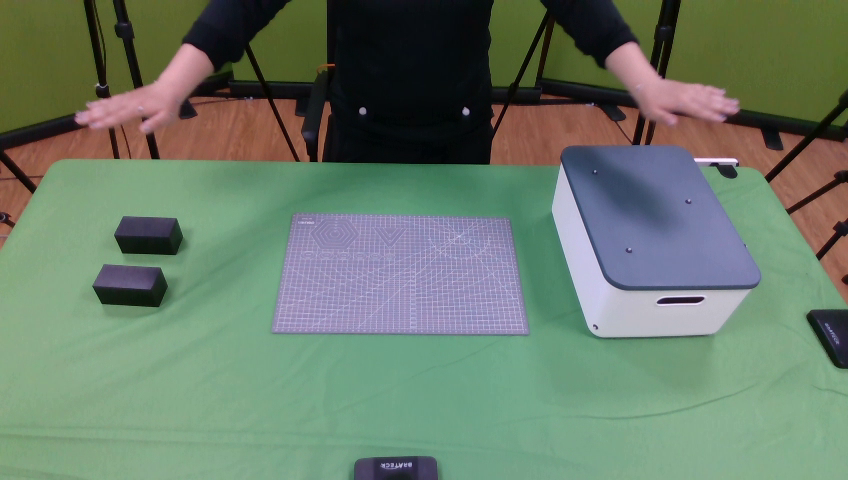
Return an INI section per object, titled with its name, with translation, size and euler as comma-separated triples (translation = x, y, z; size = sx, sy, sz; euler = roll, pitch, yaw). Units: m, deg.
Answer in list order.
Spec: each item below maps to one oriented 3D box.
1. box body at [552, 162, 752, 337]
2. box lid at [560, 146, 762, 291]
[box body]
translation = 0.401, -0.001, 1.131
size = 0.254, 0.161, 0.361
euler = -1, 46, -5
[box lid]
translation = 0.404, -0.052, 1.076
size = 0.263, 0.015, 0.369
euler = -1, 45, -5
